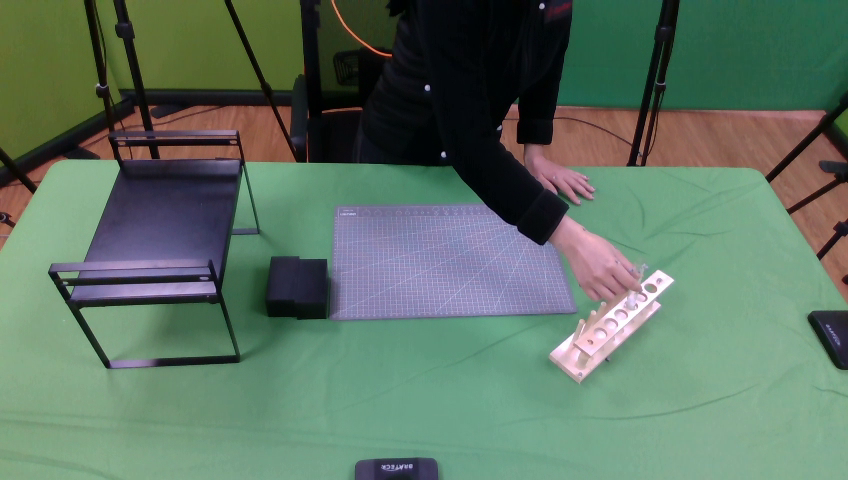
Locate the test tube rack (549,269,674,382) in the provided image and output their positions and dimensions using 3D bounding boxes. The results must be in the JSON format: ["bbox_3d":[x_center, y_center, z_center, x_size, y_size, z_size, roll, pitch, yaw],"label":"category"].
[{"bbox_3d":[0.325,0.135,1.047,0.242,0.085,0.066,-32,55,-30],"label":"test tube rack"}]

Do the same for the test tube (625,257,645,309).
[{"bbox_3d":[0.338,0.074,0.973,0.017,0.151,0.017,-6,54,8],"label":"test tube"}]
